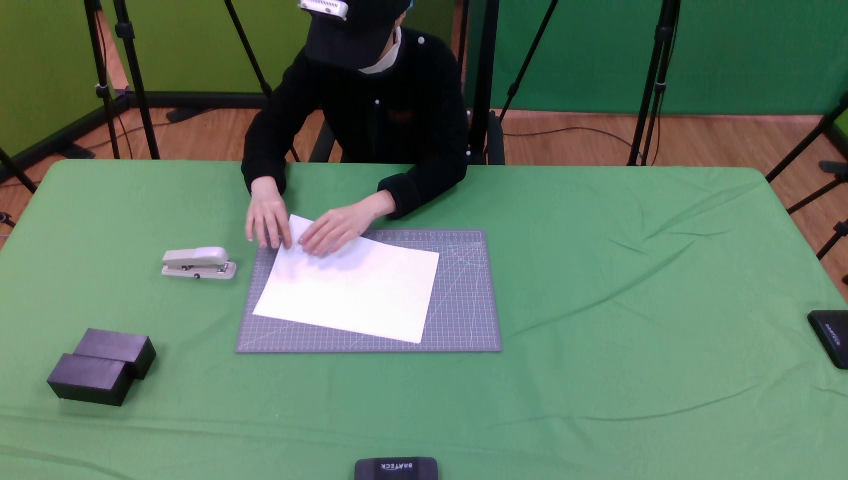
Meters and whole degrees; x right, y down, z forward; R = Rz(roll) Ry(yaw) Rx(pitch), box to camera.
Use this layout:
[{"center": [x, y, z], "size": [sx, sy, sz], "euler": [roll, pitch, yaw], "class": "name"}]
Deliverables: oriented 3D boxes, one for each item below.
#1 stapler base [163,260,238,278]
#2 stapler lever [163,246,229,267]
[{"center": [-0.414, 0.046, 1.120], "size": [0.130, 0.024, 0.041], "euler": [2, 43, 0], "class": "stapler base"}, {"center": [-0.415, 0.029, 1.103], "size": [0.118, 0.040, 0.026], "euler": [3, 43, 0], "class": "stapler lever"}]
